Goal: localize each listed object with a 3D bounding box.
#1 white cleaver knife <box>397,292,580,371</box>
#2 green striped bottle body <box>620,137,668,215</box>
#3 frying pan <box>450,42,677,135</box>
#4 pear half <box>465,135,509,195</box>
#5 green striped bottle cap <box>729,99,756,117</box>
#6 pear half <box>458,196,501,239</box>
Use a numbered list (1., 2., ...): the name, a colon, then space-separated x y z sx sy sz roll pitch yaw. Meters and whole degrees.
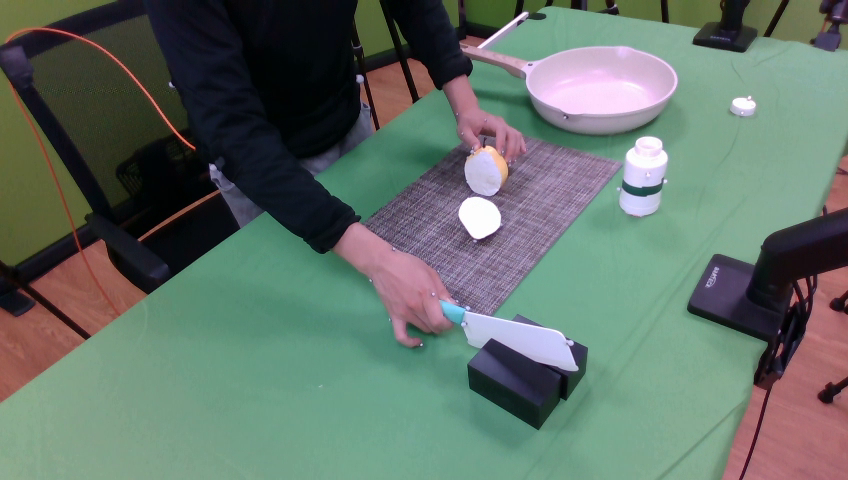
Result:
1. white cleaver knife: 0.066 0.115 0.765 0.284 0.066 0.021 10 37 45
2. green striped bottle body: 0.350 -0.103 0.963 0.063 0.120 0.063 -4 41 4
3. frying pan: 0.268 -0.344 1.266 0.485 0.103 0.307 26 49 21
4. pear half: 0.111 -0.137 1.039 0.076 0.110 0.056 16 45 18
5. green striped bottle cap: 0.623 -0.259 1.182 0.044 0.020 0.044 -3 40 3
6. pear half: 0.087 -0.030 0.975 0.070 0.031 0.088 14 55 0
